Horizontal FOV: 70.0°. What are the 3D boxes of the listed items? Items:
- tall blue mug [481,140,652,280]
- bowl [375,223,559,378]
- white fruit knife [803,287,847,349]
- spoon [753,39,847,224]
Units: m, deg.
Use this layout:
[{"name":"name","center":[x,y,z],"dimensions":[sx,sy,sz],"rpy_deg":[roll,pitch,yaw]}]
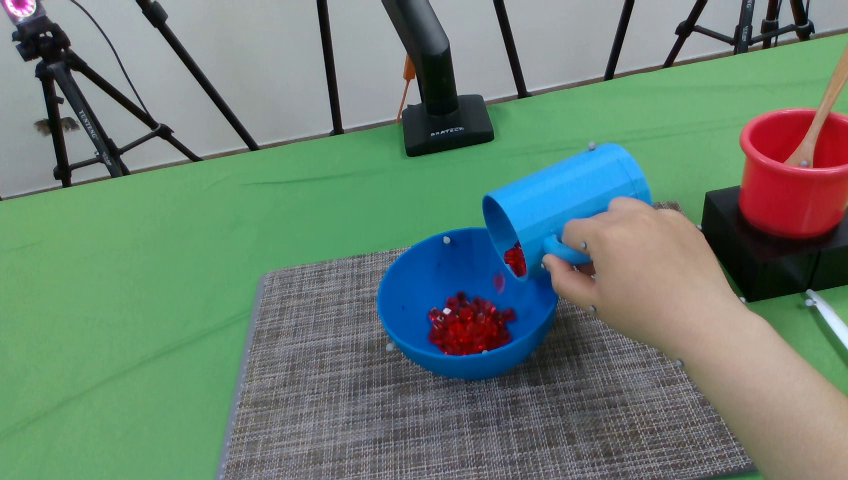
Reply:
[{"name":"tall blue mug","center":[0.112,-0.024,0.462],"dimensions":[0.108,0.077,0.107],"rpy_deg":[-23,-1,-8]},{"name":"bowl","center":[0.040,0.064,0.516],"dimensions":[0.151,0.077,0.150],"rpy_deg":[-8,40,7]},{"name":"white fruit knife","center":[0.337,0.105,0.445],"dimensions":[0.027,0.016,0.205],"rpy_deg":[11,36,-13]},{"name":"spoon","center":[0.332,-0.103,0.507],"dimensions":[0.041,0.022,0.194],"rpy_deg":[28,99,40]}]
